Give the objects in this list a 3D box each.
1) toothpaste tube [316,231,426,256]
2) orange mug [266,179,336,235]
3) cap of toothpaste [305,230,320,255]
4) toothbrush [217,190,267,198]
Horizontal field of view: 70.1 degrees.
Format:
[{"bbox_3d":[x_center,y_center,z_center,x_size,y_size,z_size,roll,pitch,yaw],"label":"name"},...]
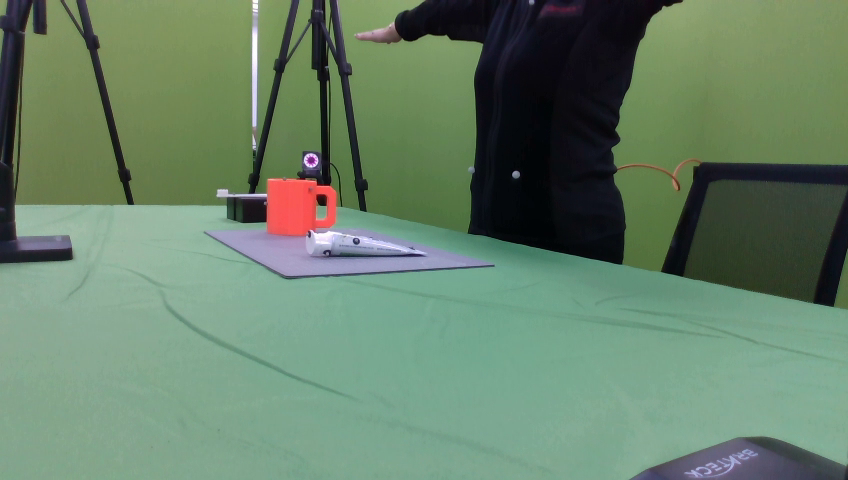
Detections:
[{"bbox_3d":[-0.080,0.009,0.870,0.166,0.034,0.055,3,11,-26],"label":"toothpaste tube"},{"bbox_3d":[-0.222,-0.062,1.094,0.127,0.101,0.083,-5,10,-22],"label":"orange mug"},{"bbox_3d":[-0.154,0.003,0.836,0.011,0.037,0.037,-3,9,-34],"label":"cap of toothpaste"},{"bbox_3d":[-0.343,-0.096,1.282,0.183,0.016,0.014,-1,4,-27],"label":"toothbrush"}]
